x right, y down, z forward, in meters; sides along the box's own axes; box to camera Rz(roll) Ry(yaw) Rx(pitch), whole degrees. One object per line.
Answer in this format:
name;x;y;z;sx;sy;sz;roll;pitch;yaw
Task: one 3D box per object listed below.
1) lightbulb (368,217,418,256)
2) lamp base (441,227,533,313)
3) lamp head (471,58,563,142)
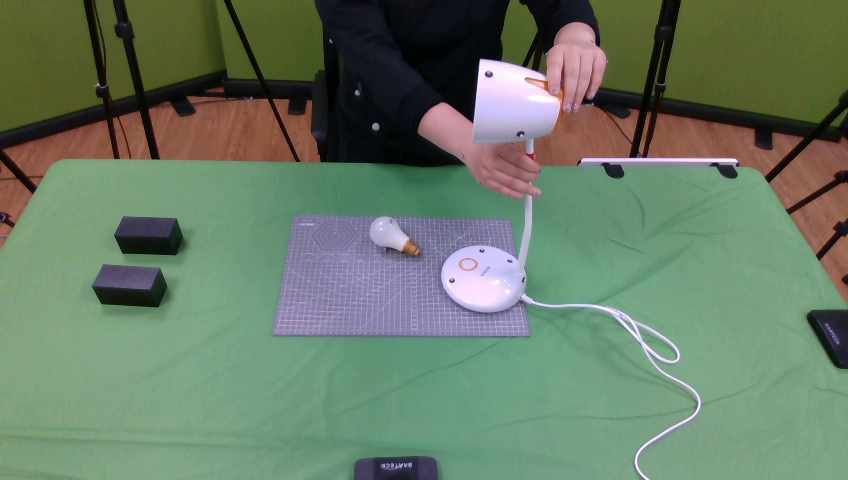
lightbulb;-0.058;-0.002;1.173;0.107;0.060;0.059;32;50;5
lamp base;0.126;0.022;1.072;0.179;0.181;0.160;23;49;14
lamp head;0.124;-0.181;0.817;0.123;0.113;0.112;8;45;-1
